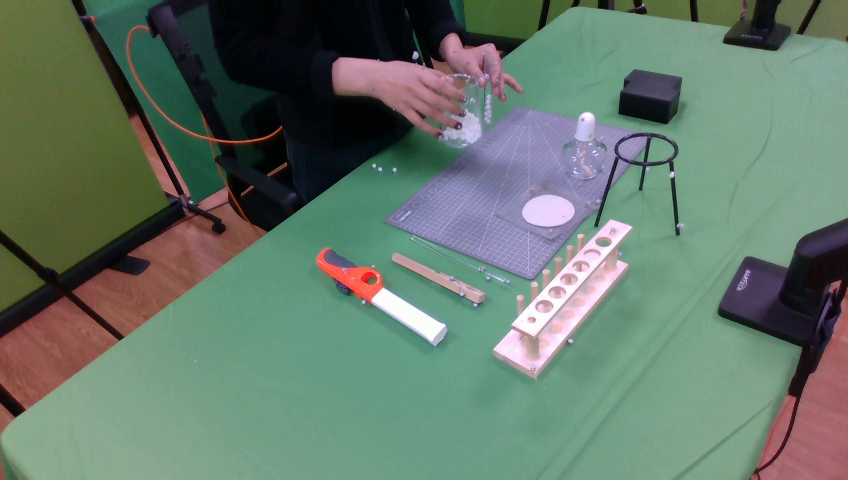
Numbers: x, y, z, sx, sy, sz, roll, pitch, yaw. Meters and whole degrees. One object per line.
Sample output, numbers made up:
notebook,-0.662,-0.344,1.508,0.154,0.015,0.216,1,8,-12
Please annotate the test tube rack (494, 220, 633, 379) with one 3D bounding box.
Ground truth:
test tube rack,0.191,0.068,0.818,0.066,0.085,0.243,25,51,35

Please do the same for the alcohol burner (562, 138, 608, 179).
alcohol burner,0.281,-0.166,1.051,0.078,0.119,0.077,-5,39,4

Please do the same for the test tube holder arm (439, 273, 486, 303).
test tube holder arm,0.053,0.071,0.895,0.087,0.015,0.010,24,12,33

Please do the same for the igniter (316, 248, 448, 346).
igniter,-0.074,0.078,0.901,0.274,0.025,0.057,29,63,36

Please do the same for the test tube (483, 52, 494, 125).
test tube,0.112,-0.260,1.052,0.017,0.151,0.017,-2,52,3

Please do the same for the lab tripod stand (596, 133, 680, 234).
lab tripod stand,0.338,-0.090,0.940,0.148,0.132,0.147,-7,38,6

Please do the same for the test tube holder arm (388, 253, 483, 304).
test tube holder arm,0.014,0.056,0.915,0.177,0.015,0.013,23,12,32

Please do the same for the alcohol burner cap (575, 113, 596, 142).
alcohol burner cap,0.277,-0.193,1.028,0.034,0.048,0.033,-2,44,3

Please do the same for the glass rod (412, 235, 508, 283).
glass rod,0.052,0.028,0.951,0.198,0.008,0.008,25,52,37

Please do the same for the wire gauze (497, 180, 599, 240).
wire gauze,0.207,-0.050,1.011,0.125,0.011,0.120,-34,45,-26

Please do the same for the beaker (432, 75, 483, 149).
beaker,0.058,-0.207,0.979,0.073,0.101,0.084,16,43,32
